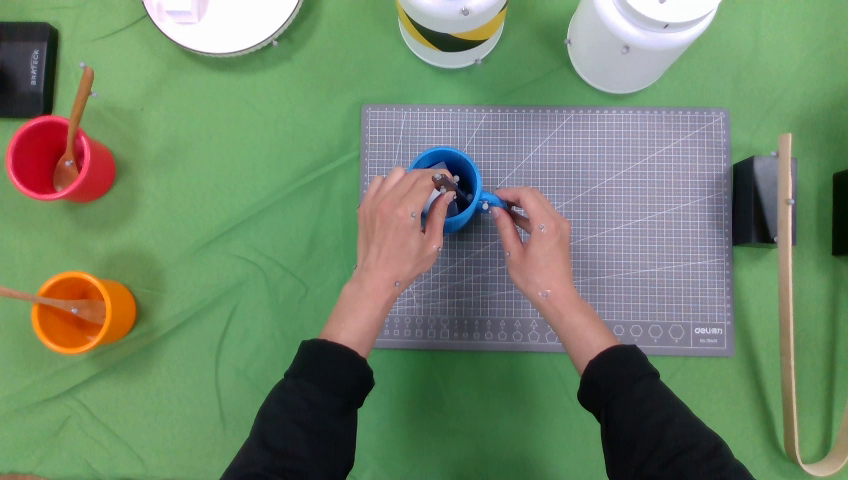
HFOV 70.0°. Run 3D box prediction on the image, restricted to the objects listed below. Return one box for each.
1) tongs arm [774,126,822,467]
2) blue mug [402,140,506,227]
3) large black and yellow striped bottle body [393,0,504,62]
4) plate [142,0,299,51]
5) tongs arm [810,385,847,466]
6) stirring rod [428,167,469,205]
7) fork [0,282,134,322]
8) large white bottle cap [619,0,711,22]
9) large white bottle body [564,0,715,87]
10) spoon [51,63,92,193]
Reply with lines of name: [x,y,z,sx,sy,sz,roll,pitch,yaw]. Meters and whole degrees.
tongs arm: [0.417,0.067,0.673,0.051,0.026,0.385,-4,98,-1]
blue mug: [0.036,-0.057,0.687,0.116,0.106,0.082,14,86,2]
large black and yellow striped bottle body: [0.028,-0.289,0.666,0.131,0.184,0.130,0,85,2]
plate: [-0.246,-0.331,0.748,0.207,0.039,0.207,0,86,1]
tongs arm: [0.499,0.069,0.673,0.028,0.027,0.388,9,98,-6]
stirring rod: [0.030,-0.054,0.633,0.014,0.177,0.006,-20,80,11]
fork: [-0.429,0.060,0.670,0.209,0.018,0.028,22,85,-41]
large white bottle cap: [0.231,-0.266,0.575,0.115,0.018,0.114,0,85,1]
large white bottle body: [0.233,-0.258,0.659,0.130,0.185,0.130,0,86,1]
spoon: [-0.397,-0.122,0.684,0.041,0.021,0.194,47,132,7]
